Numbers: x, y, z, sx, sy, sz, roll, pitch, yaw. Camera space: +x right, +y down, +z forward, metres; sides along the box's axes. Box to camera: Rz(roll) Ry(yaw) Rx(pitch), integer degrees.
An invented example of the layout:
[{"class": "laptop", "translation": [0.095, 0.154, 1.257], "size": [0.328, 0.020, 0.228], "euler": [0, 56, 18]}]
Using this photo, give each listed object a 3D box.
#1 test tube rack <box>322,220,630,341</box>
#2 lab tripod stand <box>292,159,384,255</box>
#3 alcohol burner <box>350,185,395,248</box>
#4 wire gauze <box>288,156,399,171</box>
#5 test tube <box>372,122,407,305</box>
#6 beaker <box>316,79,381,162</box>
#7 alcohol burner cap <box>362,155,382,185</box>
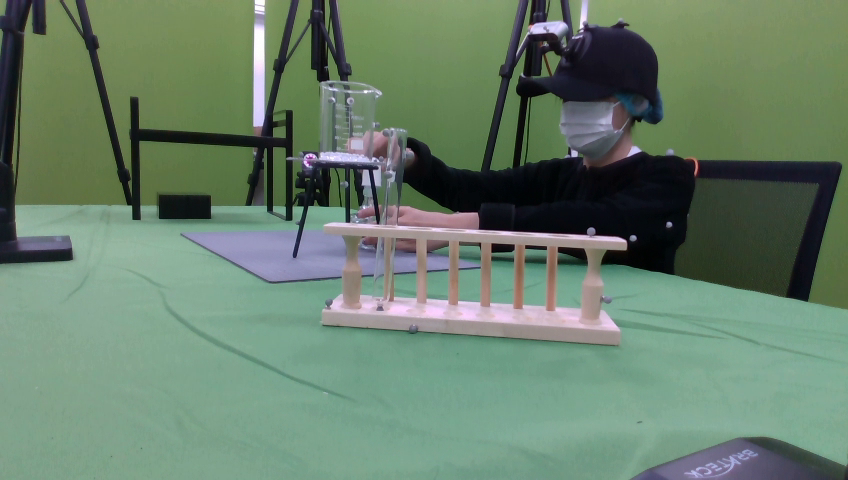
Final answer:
[{"class": "test tube rack", "translation": [0.041, 0.029, 0.512], "size": [0.242, 0.085, 0.067], "euler": [3, 7, 5]}, {"class": "lab tripod stand", "translation": [-0.105, -0.039, 0.797], "size": [0.148, 0.131, 0.148], "euler": [2, 5, 0]}, {"class": "alcohol burner", "translation": [-0.084, -0.048, 0.953], "size": [0.078, 0.119, 0.078], "euler": [1, 6, 0]}, {"class": "wire gauze", "translation": [-0.101, -0.103, 0.788], "size": [0.121, 0.011, 0.125], "euler": [5, 4, 6]}, {"class": "test tube", "translation": [-0.029, -0.020, 0.493], "size": [0.017, 0.150, 0.017], "euler": [6, 9, -1]}, {"class": "beaker", "translation": [-0.098, -0.151, 0.778], "size": [0.084, 0.100, 0.074], "euler": [4, 7, 6]}, {"class": "alcohol burner cap", "translation": [-0.080, -0.109, 0.946], "size": [0.034, 0.048, 0.034], "euler": [4, 3, 0]}]
